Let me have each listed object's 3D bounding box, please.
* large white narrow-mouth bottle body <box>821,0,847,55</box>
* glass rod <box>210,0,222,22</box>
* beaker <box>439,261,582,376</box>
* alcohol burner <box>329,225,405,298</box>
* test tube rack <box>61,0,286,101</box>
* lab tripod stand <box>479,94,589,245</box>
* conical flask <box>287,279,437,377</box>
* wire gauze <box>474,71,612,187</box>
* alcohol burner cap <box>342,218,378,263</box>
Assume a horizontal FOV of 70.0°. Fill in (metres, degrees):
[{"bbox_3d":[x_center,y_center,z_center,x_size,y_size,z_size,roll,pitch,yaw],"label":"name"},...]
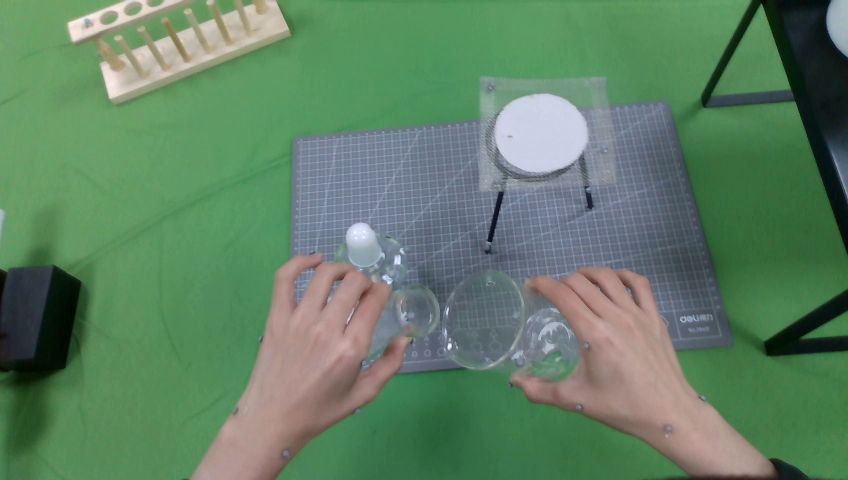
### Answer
[{"bbox_3d":[0.385,-0.224,0.436,0.102,0.196,0.101,-1,65,3],"label":"large white narrow-mouth bottle body"},{"bbox_3d":[-0.268,-0.333,0.713,0.008,0.201,0.008,0,65,0],"label":"glass rod"},{"bbox_3d":[0.070,0.068,0.474,0.084,0.101,0.073,-44,49,22],"label":"beaker"},{"bbox_3d":[-0.059,0.014,0.605,0.078,0.120,0.077,-1,65,2],"label":"alcohol burner"},{"bbox_3d":[-0.309,-0.270,0.762,0.242,0.086,0.066,-24,67,-6],"label":"test tube rack"},{"bbox_3d":[0.105,-0.075,0.619,0.148,0.132,0.147,-1,65,3],"label":"lab tripod stand"},{"bbox_3d":[-0.044,0.061,0.462,0.121,0.076,0.075,-22,57,43],"label":"conical flask"},{"bbox_3d":[0.107,-0.106,0.559,0.121,0.011,0.124,0,67,3],"label":"wire gauze"},{"bbox_3d":[-0.063,-0.002,0.572,0.034,0.048,0.033,-1,60,1],"label":"alcohol burner cap"}]
